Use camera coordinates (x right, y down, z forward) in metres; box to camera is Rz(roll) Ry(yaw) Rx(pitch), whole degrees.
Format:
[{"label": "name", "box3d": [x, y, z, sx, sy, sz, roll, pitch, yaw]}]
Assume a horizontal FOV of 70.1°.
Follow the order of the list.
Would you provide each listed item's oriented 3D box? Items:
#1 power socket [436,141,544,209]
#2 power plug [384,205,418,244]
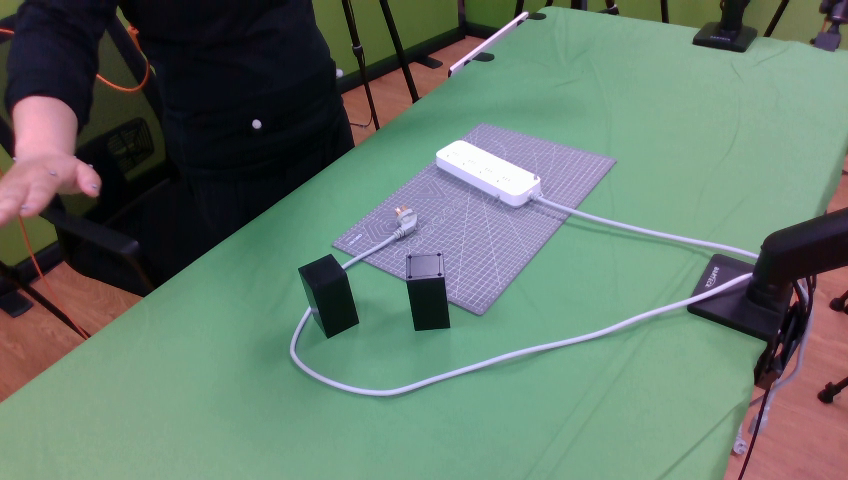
[{"label": "power socket", "box3d": [0.111, -0.120, 1.082, 0.072, 0.033, 0.224, -34, 47, -27]}, {"label": "power plug", "box3d": [-0.043, -0.030, 0.991, 0.073, 0.035, 0.052, -20, 58, -31]}]
